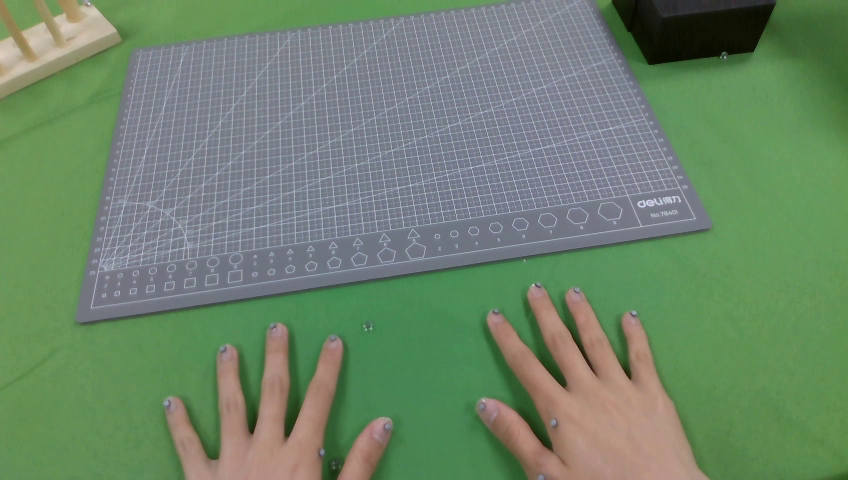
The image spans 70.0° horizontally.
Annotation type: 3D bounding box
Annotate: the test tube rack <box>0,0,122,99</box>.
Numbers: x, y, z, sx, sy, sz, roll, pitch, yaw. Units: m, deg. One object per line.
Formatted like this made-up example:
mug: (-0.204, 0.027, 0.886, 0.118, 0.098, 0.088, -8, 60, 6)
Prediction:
test tube rack: (-0.410, -0.171, 0.531, 0.242, 0.086, 0.066, -36, 61, -21)
